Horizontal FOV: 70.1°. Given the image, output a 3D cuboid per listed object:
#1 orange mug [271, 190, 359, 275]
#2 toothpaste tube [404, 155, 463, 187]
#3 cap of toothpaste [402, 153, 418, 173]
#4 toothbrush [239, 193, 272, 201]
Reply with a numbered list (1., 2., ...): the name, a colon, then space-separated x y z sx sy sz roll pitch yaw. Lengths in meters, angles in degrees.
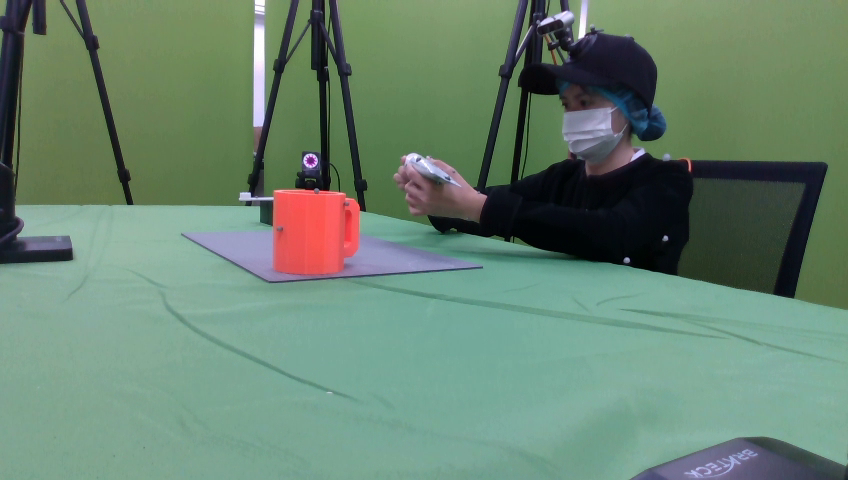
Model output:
1. orange mug: -0.131 -0.013 0.754 0.083 0.101 0.127 8 13 38
2. toothpaste tube: 0.007 -0.115 0.991 0.055 0.034 0.164 20 7 -27
3. cap of toothpaste: -0.020 -0.135 1.062 0.037 0.037 0.011 -1 16 -24
4. toothbrush: -0.286 -0.087 1.236 0.183 0.016 0.014 -1 4 -30
